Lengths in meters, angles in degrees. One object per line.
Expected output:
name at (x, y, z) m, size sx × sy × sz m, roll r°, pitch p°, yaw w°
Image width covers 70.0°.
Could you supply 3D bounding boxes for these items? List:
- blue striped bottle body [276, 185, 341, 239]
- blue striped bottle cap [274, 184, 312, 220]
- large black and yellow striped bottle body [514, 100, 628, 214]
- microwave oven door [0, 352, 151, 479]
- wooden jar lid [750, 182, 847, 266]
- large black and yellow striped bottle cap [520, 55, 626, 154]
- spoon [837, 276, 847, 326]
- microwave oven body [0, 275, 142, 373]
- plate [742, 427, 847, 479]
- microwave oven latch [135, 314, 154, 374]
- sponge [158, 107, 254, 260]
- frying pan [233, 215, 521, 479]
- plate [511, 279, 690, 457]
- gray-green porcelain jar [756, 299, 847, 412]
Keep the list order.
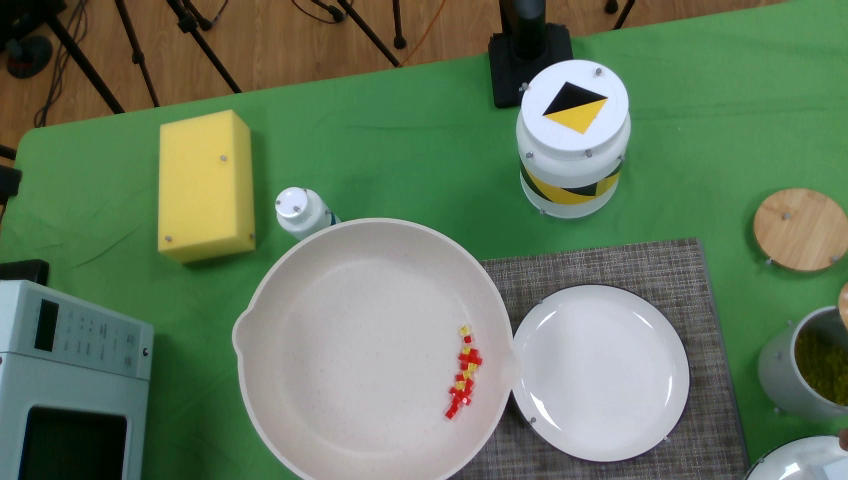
blue striped bottle body at (-0.157, -0.031, 0.816) m, size 0.063 × 0.122 × 0.062 m, roll -3°, pitch 71°, yaw 10°
blue striped bottle cap at (-0.167, -0.049, 0.769) m, size 0.044 × 0.021 × 0.044 m, roll -3°, pitch 73°, yaw 10°
large black and yellow striped bottle body at (0.179, -0.123, 0.747) m, size 0.130 × 0.185 × 0.130 m, roll -3°, pitch 70°, yaw 10°
microwave oven door at (-0.401, 0.316, 0.663) m, size 0.039 × 0.246 × 0.353 m, roll -7°, pitch 70°, yaw 9°
wooden jar lid at (0.459, -0.018, 0.745) m, size 0.108 × 0.021 × 0.107 m, roll -3°, pitch 73°, yaw 11°
large black and yellow striped bottle cap at (0.164, -0.151, 0.669) m, size 0.115 × 0.019 × 0.114 m, roll -3°, pitch 73°, yaw 10°
spoon at (0.407, 0.121, 0.564) m, size 0.041 × 0.022 × 0.192 m, roll 3°, pitch 64°, yaw 34°
microwave oven body at (-0.545, 0.294, 0.704) m, size 0.325 × 0.262 × 0.438 m, roll -6°, pitch 71°, yaw 9°
plate at (0.435, 0.303, 0.633) m, size 0.207 × 0.039 × 0.206 m, roll -3°, pitch 71°, yaw 10°
microwave oven latch at (-0.390, 0.142, 0.828) m, size 0.030 × 0.030 × 0.078 m, roll -6°, pitch 71°, yaw 9°
sponge at (-0.324, -0.084, 0.898) m, size 0.118 × 0.061 × 0.205 m, roll -12°, pitch 71°, yaw 7°
frying pan at (-0.060, 0.215, 0.627) m, size 0.308 × 0.103 × 0.484 m, roll 10°, pitch 68°, yaw -8°
plate at (0.205, 0.150, 0.725) m, size 0.209 × 0.038 × 0.208 m, roll -4°, pitch 71°, yaw 11°
gray-green porcelain jar at (0.424, 0.128, 0.646) m, size 0.105 × 0.127 × 0.105 m, roll -3°, pitch 71°, yaw 10°
